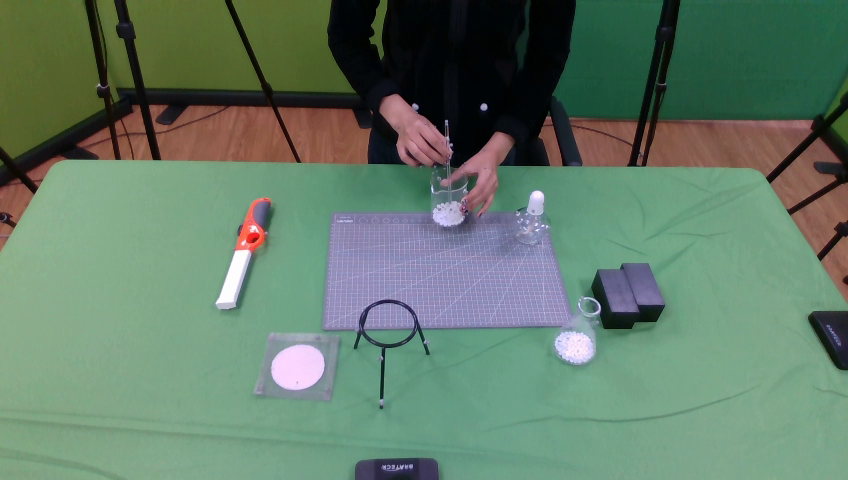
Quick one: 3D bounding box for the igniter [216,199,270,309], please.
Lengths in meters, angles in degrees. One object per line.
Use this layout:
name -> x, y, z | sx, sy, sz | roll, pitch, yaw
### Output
igniter -> -0.342, 0.016, 1.153 | 0.057, 0.025, 0.275 | -3, 45, 7

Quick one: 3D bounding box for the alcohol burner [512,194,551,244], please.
alcohol burner -> 0.215, -0.048, 1.196 | 0.078, 0.119, 0.077 | 4, 46, -4

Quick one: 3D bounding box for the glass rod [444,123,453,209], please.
glass rod -> 0.048, -0.137, 1.164 | 0.008, 0.201, 0.008 | -3, 42, 3

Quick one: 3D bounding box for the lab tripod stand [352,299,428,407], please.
lab tripod stand -> -0.056, 0.166, 0.958 | 0.148, 0.132, 0.147 | 3, 44, -2

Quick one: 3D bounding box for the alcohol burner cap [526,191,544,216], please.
alcohol burner cap -> 0.216, -0.073, 1.170 | 0.034, 0.048, 0.033 | 0, 42, 1

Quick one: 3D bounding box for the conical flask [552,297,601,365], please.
conical flask -> 0.261, 0.147, 1.009 | 0.075, 0.122, 0.075 | 2, 46, -2

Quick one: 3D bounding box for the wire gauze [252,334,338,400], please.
wire gauze -> -0.209, 0.204, 0.996 | 0.125, 0.011, 0.120 | 3, 45, 1

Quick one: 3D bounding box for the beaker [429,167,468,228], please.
beaker -> 0.045, -0.079, 1.185 | 0.073, 0.101, 0.084 | 30, 52, 29
